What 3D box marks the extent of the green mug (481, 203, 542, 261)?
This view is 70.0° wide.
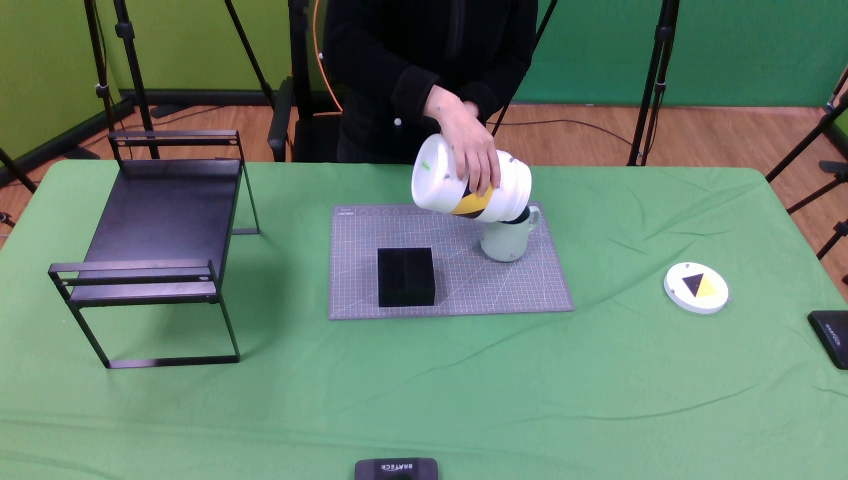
[{"bbox_3d":[0.174,-0.027,1.173,0.125,0.105,0.092,-22,51,-23],"label":"green mug"}]

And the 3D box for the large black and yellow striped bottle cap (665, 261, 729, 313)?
[{"bbox_3d":[0.518,0.087,1.152,0.115,0.019,0.114,2,47,-2],"label":"large black and yellow striped bottle cap"}]

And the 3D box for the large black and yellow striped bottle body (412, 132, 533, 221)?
[{"bbox_3d":[0.084,-0.105,1.063,0.184,0.131,0.130,11,43,-21],"label":"large black and yellow striped bottle body"}]
